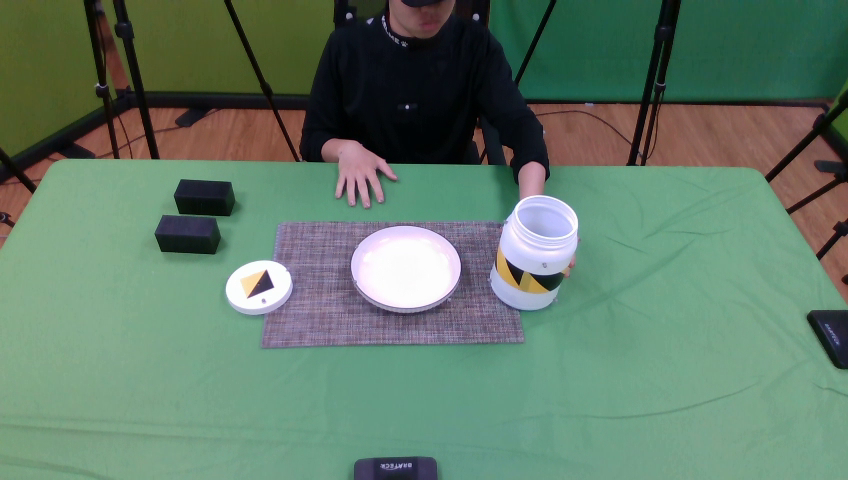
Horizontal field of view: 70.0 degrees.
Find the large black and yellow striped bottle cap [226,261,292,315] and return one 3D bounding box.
[{"bbox_3d":[-0.298,0.085,1.092,0.115,0.019,0.114,0,45,1],"label":"large black and yellow striped bottle cap"}]

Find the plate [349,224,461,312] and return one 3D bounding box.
[{"bbox_3d":[-0.035,0.054,1.126,0.208,0.039,0.206,2,46,-2],"label":"plate"}]

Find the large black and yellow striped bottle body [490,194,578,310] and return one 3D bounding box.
[{"bbox_3d":[0.195,0.022,1.073,0.131,0.185,0.130,4,46,-4],"label":"large black and yellow striped bottle body"}]
